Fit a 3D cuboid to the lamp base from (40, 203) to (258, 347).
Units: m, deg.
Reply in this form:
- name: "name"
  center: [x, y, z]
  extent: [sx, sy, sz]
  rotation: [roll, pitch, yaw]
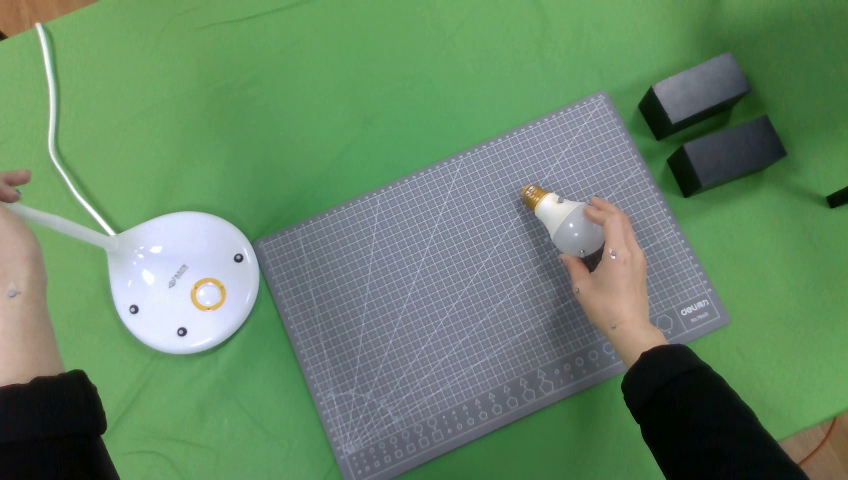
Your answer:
- name: "lamp base"
  center: [-0.280, 0.018, 0.603]
  extent: [0.179, 0.181, 0.160]
  rotation: [22, 80, 8]

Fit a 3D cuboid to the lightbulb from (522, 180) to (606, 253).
- name: "lightbulb"
  center: [0.149, -0.030, 0.664]
  extent: [0.059, 0.060, 0.107]
  rotation: [-45, 66, -7]
